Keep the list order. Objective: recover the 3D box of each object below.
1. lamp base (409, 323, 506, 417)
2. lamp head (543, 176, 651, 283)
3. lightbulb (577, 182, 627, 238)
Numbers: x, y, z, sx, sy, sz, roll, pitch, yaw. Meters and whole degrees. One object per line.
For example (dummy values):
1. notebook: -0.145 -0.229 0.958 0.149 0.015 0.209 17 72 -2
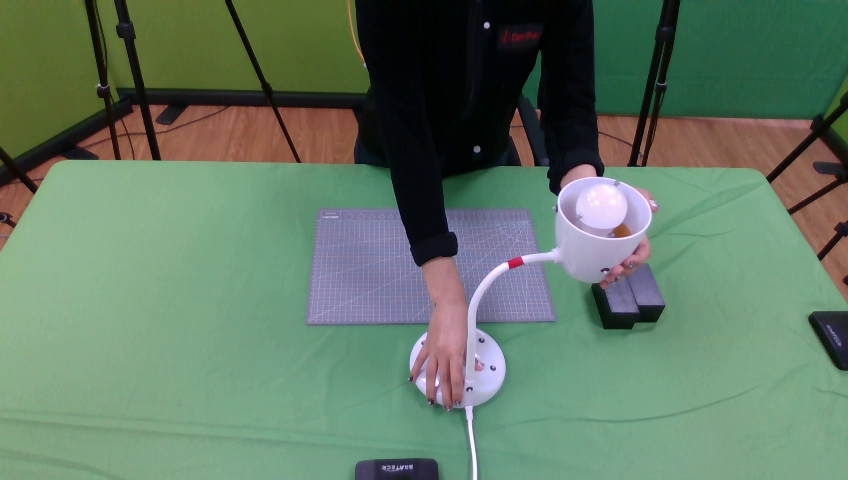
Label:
1. lamp base: 0.062 0.160 0.941 0.161 0.181 0.178 -10 50 -13
2. lamp head: 0.212 -0.002 0.771 0.112 0.123 0.111 4 46 -4
3. lightbulb: 0.219 -0.023 0.757 0.059 0.108 0.059 -2 42 2
